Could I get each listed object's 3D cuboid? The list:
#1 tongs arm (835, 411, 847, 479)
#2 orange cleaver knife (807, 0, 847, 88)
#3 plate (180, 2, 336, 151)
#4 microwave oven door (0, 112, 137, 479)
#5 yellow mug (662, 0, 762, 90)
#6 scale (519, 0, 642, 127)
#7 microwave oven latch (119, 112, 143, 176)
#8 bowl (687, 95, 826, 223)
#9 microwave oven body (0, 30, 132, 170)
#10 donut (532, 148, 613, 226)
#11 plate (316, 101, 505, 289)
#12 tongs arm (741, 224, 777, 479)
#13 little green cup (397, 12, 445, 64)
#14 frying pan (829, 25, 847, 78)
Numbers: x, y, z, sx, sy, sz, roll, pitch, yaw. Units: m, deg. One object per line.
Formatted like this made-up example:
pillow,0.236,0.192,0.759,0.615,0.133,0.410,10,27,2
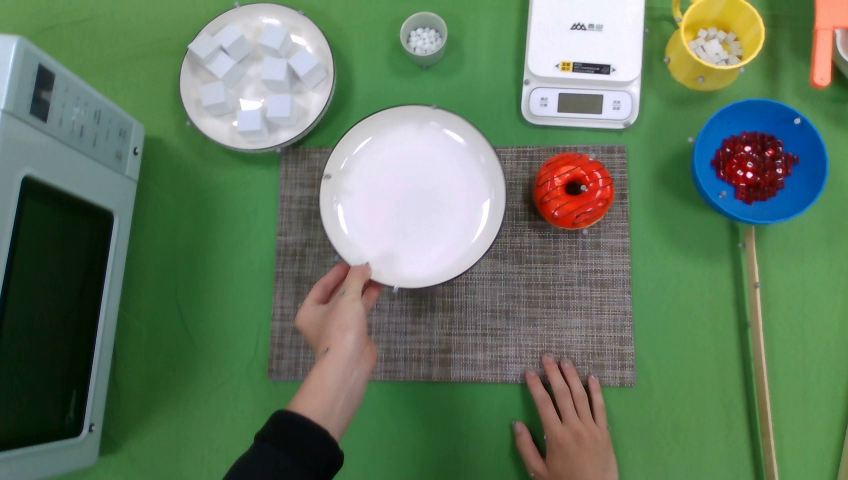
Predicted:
tongs arm,0.494,0.180,0.701,0.028,0.028,0.386,16,81,-2
orange cleaver knife,0.490,-0.282,0.722,0.077,0.012,0.210,5,81,7
plate,-0.217,-0.214,0.809,0.207,0.039,0.207,-1,80,4
microwave oven door,-0.411,0.072,0.650,0.039,0.245,0.354,3,80,5
yellow mug,0.352,-0.263,0.765,0.100,0.064,0.130,-32,78,-1
scale,0.205,-0.249,0.790,0.148,0.032,0.200,5,81,5
microwave oven latch,-0.387,-0.125,0.786,0.030,0.029,0.079,5,81,4
bowl,0.383,-0.088,0.727,0.151,0.077,0.151,-1,81,4
microwave oven body,-0.553,0.024,0.673,0.326,0.261,0.440,3,81,4
donut,0.182,-0.066,0.750,0.099,0.048,0.098,-1,81,6
plate,-0.014,-0.049,0.673,0.209,0.038,0.208,0,82,3
tongs arm,0.408,0.171,0.703,0.051,0.026,0.383,1,81,-2
little green cup,-0.002,-0.266,0.804,0.061,0.039,0.061,-1,79,4
frying pan,0.672,-0.198,0.713,0.307,0.103,0.484,-26,71,0
